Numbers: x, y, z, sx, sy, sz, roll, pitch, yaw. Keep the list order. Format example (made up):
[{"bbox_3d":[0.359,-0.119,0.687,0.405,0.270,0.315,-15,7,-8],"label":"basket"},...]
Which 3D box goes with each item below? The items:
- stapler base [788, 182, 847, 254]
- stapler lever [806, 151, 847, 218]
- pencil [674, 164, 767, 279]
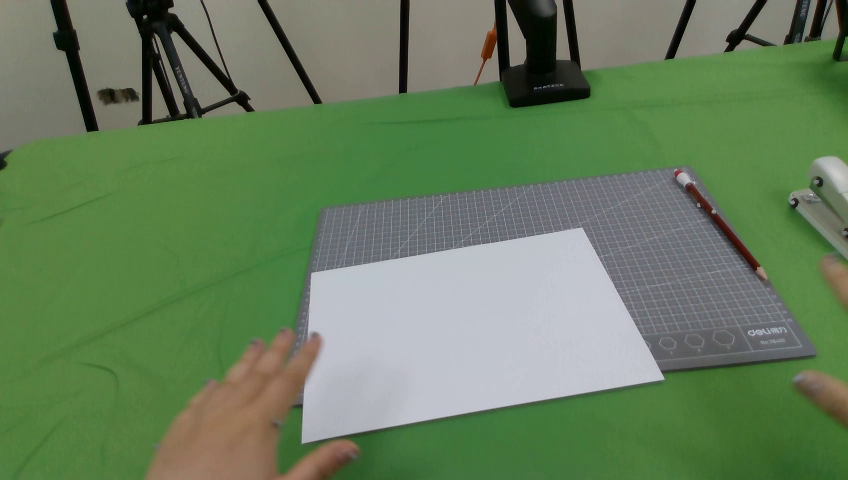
[{"bbox_3d":[0.417,-0.025,0.603,0.041,0.025,0.129,-11,40,1],"label":"stapler base"},{"bbox_3d":[0.414,-0.043,0.586,0.027,0.040,0.117,-11,41,1],"label":"stapler lever"},{"bbox_3d":[0.305,-0.025,0.631,0.012,0.012,0.192,-9,40,0],"label":"pencil"}]
